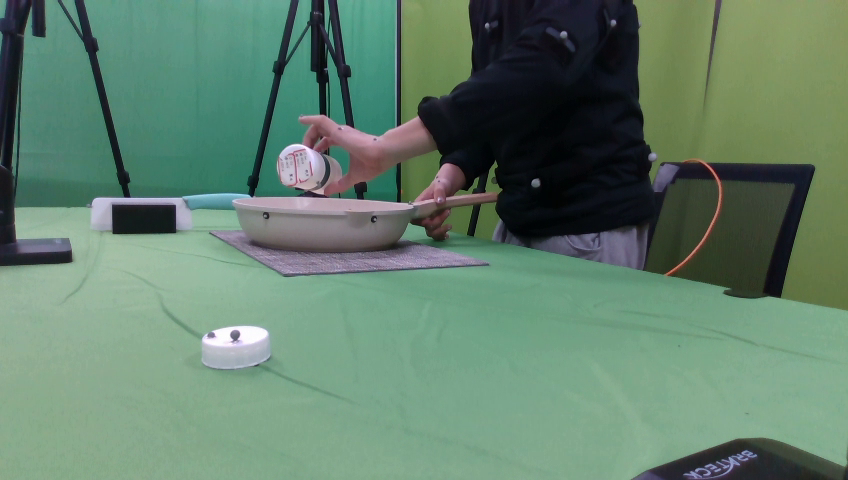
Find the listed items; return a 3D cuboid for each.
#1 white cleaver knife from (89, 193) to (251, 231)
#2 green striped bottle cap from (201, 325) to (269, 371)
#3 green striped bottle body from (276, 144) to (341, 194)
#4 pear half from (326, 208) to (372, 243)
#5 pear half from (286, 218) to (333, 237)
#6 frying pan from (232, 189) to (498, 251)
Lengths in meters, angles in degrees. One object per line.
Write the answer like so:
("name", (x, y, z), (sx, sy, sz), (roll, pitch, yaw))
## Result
("white cleaver knife", (-0.454, -0.052, 1.114), (0.288, 0.066, 0.021), (-4, 14, -27))
("green striped bottle cap", (-0.129, 0.073, 0.415), (0.044, 0.020, 0.044), (2, 8, 0))
("green striped bottle body", (-0.173, -0.107, 0.940), (0.063, 0.063, 0.119), (5, -2, 18))
("pear half", (-0.128, -0.026, 1.017), (0.076, 0.056, 0.109), (6, 4, -18))
("pear half", (-0.197, -0.023, 1.053), (0.070, 0.031, 0.088), (15, 19, 42))
("frying pan", (-0.073, -0.051, 1.048), (0.490, 0.102, 0.305), (-11, 13, -27))
